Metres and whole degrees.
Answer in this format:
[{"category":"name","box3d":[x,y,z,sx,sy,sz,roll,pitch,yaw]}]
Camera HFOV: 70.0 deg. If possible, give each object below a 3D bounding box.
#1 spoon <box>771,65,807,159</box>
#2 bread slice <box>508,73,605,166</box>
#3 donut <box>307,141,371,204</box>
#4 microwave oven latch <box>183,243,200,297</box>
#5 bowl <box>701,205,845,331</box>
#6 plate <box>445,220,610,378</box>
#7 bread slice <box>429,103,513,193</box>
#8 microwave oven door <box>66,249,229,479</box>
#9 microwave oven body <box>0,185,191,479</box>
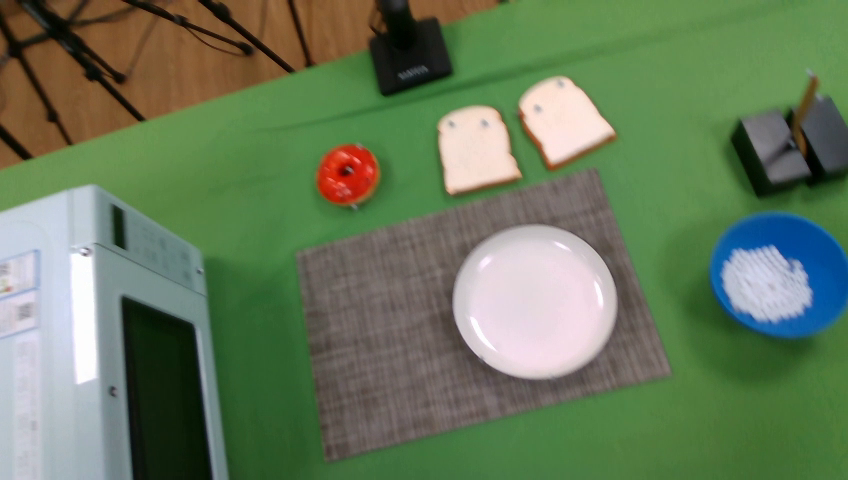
[{"category":"spoon","box3d":[0.435,-0.149,0.725,0.021,0.195,0.041,-19,66,19]},{"category":"bread slice","box3d":[0.183,-0.182,0.880,0.105,0.019,0.130,-29,69,-1]},{"category":"donut","box3d":[-0.127,-0.100,0.897,0.099,0.048,0.098,-4,71,12]},{"category":"microwave oven latch","box3d":[-0.344,0.046,0.871,0.030,0.030,0.078,-18,70,4]},{"category":"bowl","box3d":[0.405,0.042,0.727,0.151,0.077,0.150,-3,70,10]},{"category":"plate","box3d":[0.132,0.077,0.785,0.207,0.039,0.206,-3,71,10]},{"category":"bread slice","box3d":[0.060,-0.138,0.888,0.107,0.018,0.133,-17,70,4]},{"category":"microwave oven door","box3d":[-0.308,0.207,0.699,0.039,0.246,0.353,-19,69,4]},{"category":"microwave oven body","box3d":[-0.457,0.217,0.730,0.326,0.262,0.438,-18,69,4]}]
